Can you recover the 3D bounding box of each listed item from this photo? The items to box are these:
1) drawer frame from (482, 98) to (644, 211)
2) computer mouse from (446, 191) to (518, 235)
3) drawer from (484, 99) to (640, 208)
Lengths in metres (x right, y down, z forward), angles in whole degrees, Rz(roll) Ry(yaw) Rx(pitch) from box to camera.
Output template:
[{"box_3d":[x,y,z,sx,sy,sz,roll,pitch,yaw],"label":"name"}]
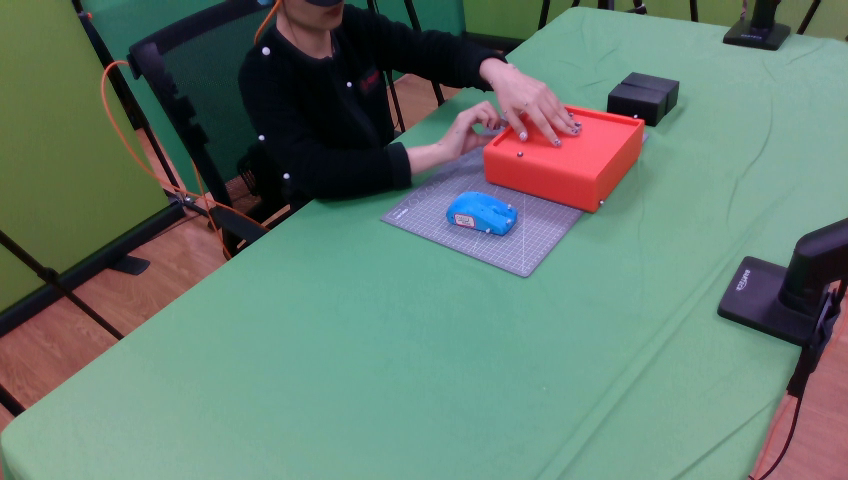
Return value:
[{"box_3d":[0.246,-0.158,1.071,0.212,0.083,0.202,21,48,30],"label":"drawer frame"},{"box_3d":[0.097,-0.048,1.004,0.116,0.041,0.063,18,45,23],"label":"computer mouse"},{"box_3d":[0.244,-0.158,1.073,0.210,0.073,0.195,22,48,31],"label":"drawer"}]
